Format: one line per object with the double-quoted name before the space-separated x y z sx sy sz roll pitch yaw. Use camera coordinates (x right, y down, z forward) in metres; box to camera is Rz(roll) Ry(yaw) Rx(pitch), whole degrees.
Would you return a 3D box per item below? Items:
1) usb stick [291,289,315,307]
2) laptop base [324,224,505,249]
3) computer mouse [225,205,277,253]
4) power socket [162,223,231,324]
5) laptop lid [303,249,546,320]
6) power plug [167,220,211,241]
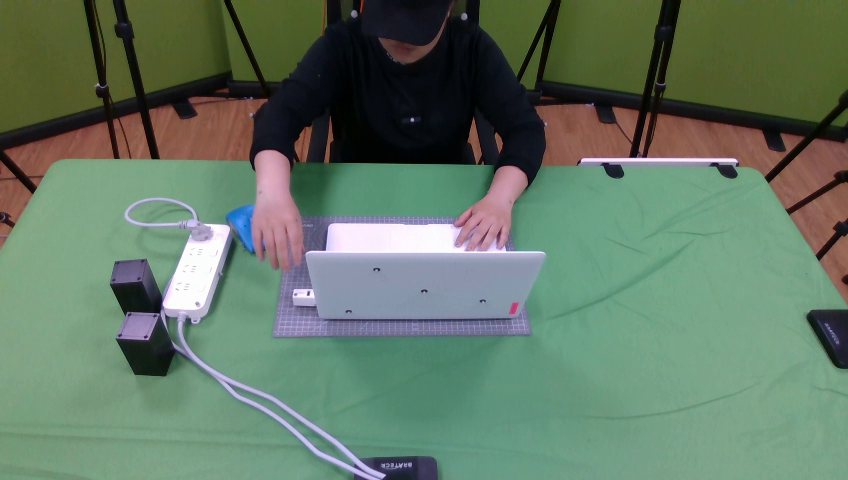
"usb stick" -0.202 0.102 1.066 0.059 0.027 0.021 4 45 -5
"laptop base" -0.014 0.056 1.144 0.355 0.023 0.234 0 43 -4
"computer mouse" -0.340 -0.025 1.186 0.063 0.041 0.116 -25 57 -29
"power socket" -0.412 0.052 1.106 0.072 0.033 0.225 4 46 -2
"laptop lid" -0.002 0.077 0.962 0.357 0.242 0.013 1 58 -5
"power plug" -0.438 -0.017 1.143 0.072 0.053 0.035 9 43 6
